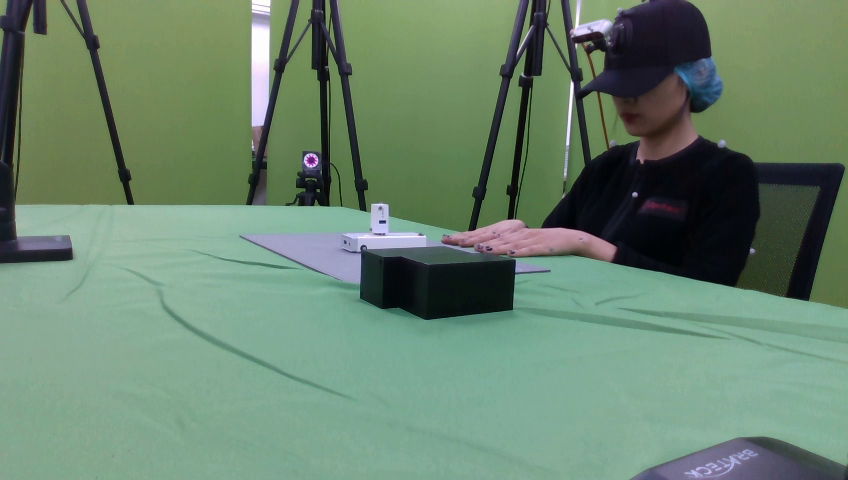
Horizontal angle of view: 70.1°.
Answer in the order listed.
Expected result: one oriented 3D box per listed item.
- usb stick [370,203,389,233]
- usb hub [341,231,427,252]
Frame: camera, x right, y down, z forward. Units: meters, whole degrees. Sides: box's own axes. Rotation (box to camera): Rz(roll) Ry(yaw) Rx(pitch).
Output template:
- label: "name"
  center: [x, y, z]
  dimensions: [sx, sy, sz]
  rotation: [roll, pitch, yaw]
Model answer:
- label: "usb stick"
  center: [-0.068, -0.027, 0.927]
  dimensions: [0.021, 0.059, 0.027]
  rotation: [-2, 11, -30]
- label: "usb hub"
  center: [-0.061, 0.002, 0.930]
  dimensions: [0.126, 0.025, 0.049]
  rotation: [-2, 9, -28]
